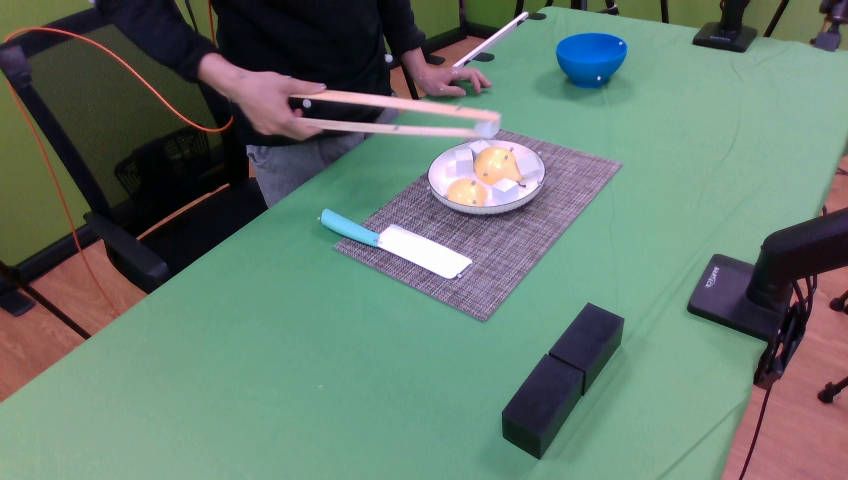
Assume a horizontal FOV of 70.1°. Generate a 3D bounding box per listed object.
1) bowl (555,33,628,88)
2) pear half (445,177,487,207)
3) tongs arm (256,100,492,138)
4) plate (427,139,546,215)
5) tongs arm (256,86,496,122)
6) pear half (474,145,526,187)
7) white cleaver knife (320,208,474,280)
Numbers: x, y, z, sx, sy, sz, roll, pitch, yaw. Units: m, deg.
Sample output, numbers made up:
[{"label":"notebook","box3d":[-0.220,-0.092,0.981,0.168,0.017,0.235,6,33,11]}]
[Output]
[{"label":"bowl","box3d":[0.361,-0.384,1.318,0.151,0.077,0.150,-4,41,4]},{"label":"pear half","box3d":[0.072,-0.086,1.032,0.070,0.031,0.087,-20,37,-10]},{"label":"tongs arm","box3d":[-0.077,-0.200,0.999,0.385,0.051,0.026,2,45,-2]},{"label":"plate","box3d":[0.109,-0.106,1.058,0.207,0.039,0.206,-4,40,4]},{"label":"tongs arm","box3d":[-0.074,-0.217,0.982,0.388,0.028,0.027,5,49,-5]},{"label":"pear half","box3d":[0.140,-0.129,1.059,0.076,0.056,0.109,-37,53,-25]},{"label":"white cleaver knife","box3d":[-0.053,0.001,0.978,0.284,0.021,0.066,23,40,26]}]
